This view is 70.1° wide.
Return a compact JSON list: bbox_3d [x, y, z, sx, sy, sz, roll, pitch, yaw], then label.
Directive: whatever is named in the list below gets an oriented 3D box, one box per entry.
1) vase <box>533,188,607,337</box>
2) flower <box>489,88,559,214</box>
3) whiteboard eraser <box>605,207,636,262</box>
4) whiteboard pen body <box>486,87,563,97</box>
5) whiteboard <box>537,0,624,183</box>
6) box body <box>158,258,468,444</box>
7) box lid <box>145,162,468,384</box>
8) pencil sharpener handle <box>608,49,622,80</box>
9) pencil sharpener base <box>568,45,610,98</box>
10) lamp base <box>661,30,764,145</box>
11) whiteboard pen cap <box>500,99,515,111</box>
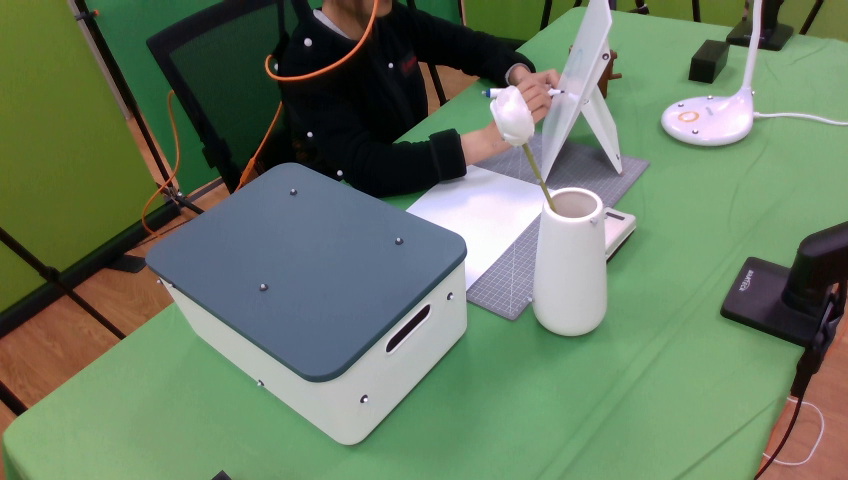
[{"bbox_3d":[0.187,0.033,0.771,0.098,0.201,0.097,-6,41,6],"label":"vase"},{"bbox_3d":[0.158,-0.027,0.720,0.038,0.364,0.044,-14,44,23],"label":"flower"},{"bbox_3d":[0.273,-0.003,0.919,0.055,0.042,0.113,27,51,33],"label":"whiteboard eraser"},{"bbox_3d":[0.179,-0.263,1.071,0.141,0.017,0.017,-1,40,-5],"label":"whiteboard pen body"},{"bbox_3d":[0.316,-0.256,1.047,0.144,0.306,0.216,15,42,-1],"label":"whiteboard"},{"bbox_3d":[-0.147,0.072,0.816,0.361,0.161,0.255,24,50,33],"label":"box body"},{"bbox_3d":[-0.157,0.014,0.769,0.368,0.015,0.264,25,51,33],"label":"box lid"},{"bbox_3d":[0.394,-0.368,1.253,0.030,0.068,0.036,-9,32,1],"label":"pencil sharpener handle"},{"bbox_3d":[0.345,-0.352,1.263,0.077,0.107,0.061,-9,40,1],"label":"pencil sharpener base"},{"bbox_3d":[0.535,-0.287,1.096,0.179,0.181,0.159,-10,40,-4],"label":"lamp base"},{"bbox_3d":[0.177,-0.287,1.289,0.033,0.018,0.018,-37,48,-26],"label":"whiteboard pen cap"}]
